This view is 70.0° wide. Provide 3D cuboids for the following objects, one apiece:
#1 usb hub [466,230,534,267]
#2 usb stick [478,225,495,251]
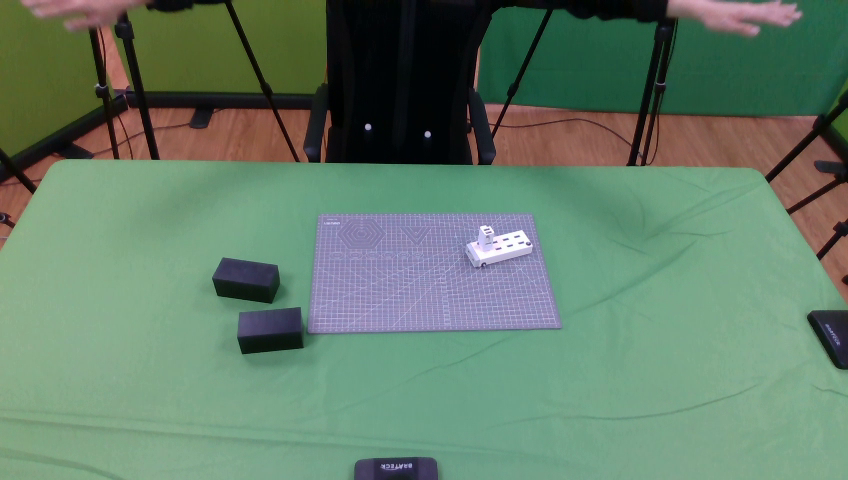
[{"bbox_3d":[0.148,0.017,1.185,0.125,0.025,0.049,-14,49,-16],"label":"usb hub"},{"bbox_3d":[0.118,0.001,1.158,0.021,0.059,0.027,-15,51,-19],"label":"usb stick"}]
